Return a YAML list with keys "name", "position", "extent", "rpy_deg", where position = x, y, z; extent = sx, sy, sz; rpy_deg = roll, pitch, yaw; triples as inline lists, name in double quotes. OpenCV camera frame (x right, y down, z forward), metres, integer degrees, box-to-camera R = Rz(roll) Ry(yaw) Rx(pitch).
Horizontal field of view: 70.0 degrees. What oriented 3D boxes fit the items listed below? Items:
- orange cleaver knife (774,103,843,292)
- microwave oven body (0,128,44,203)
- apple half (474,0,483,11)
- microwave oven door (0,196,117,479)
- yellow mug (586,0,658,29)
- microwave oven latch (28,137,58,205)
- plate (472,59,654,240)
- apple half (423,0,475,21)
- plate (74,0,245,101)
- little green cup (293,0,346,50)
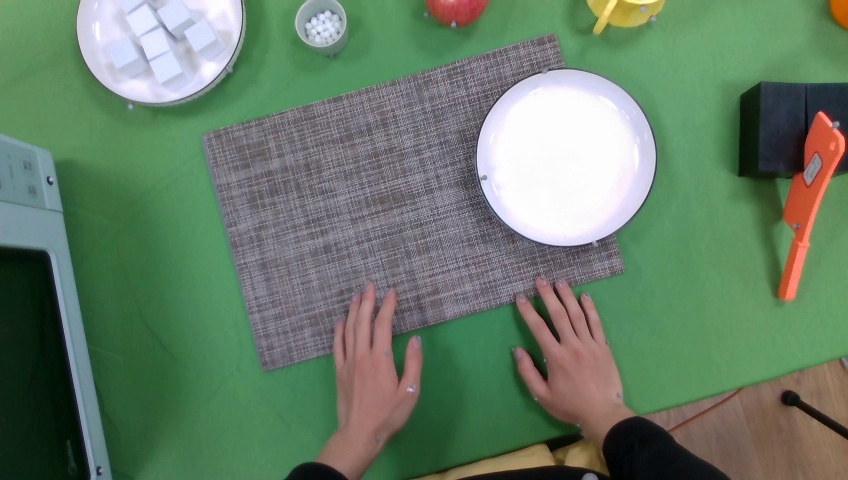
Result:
- name: "orange cleaver knife"
  position: [0.419, -0.043, 0.677]
  extent: [0.012, 0.076, 0.213]
  rpy_deg: [4, 117, 7]
- name: "microwave oven body"
  position: [-0.574, 0.119, 0.622]
  extent: [0.326, 0.260, 0.441]
  rpy_deg: [-13, 87, 1]
- name: "apple half"
  position: [0.058, -0.311, 0.710]
  extent: [0.033, 0.081, 0.081]
  rpy_deg: [-25, 86, 6]
- name: "microwave oven door"
  position: [-0.422, 0.127, 0.609]
  extent: [0.039, 0.244, 0.355]
  rpy_deg: [-13, 86, 2]
- name: "yellow mug"
  position: [0.231, -0.304, 0.705]
  extent: [0.100, 0.064, 0.131]
  rpy_deg: [32, 90, 4]
- name: "microwave oven latch"
  position: [-0.463, -0.080, 0.723]
  extent: [0.030, 0.029, 0.079]
  rpy_deg: [-11, 87, 2]
- name: "plate"
  position: [0.160, -0.103, 0.709]
  extent: [0.209, 0.038, 0.208]
  rpy_deg: [0, 87, 3]
- name: "apple half"
  position: [0.022, -0.295, 0.712]
  extent: [0.053, 0.074, 0.081]
  rpy_deg: [-24, 90, 6]
- name: "plate"
  position: [-0.318, -0.270, 0.743]
  extent: [0.207, 0.039, 0.207]
  rpy_deg: [0, 87, 3]
- name: "little green cup"
  position: [-0.124, -0.263, 0.734]
  extent: [0.061, 0.039, 0.061]
  rpy_deg: [0, 87, 3]
